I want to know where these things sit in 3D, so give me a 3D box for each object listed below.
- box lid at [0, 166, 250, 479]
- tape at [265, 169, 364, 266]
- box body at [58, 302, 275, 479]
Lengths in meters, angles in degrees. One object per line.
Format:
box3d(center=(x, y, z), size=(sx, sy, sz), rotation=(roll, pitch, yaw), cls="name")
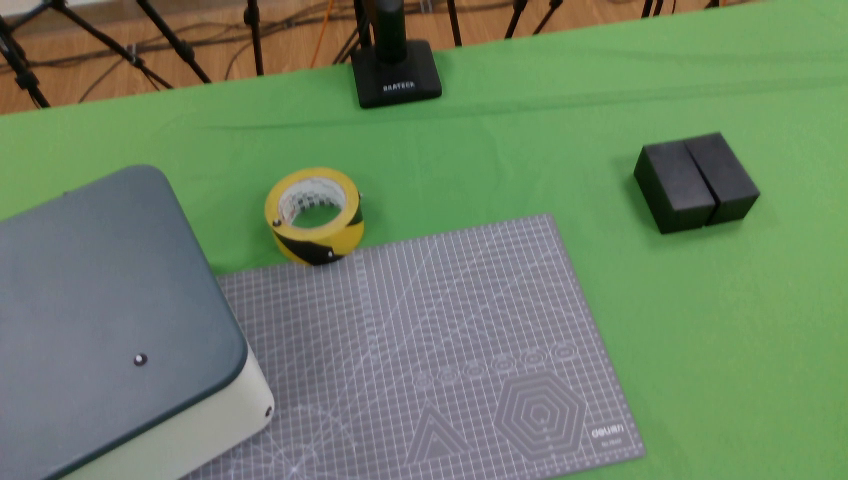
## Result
box3d(center=(-0.354, 0.092, 0.503), size=(0.372, 0.015, 0.260), rotation=(-28, 61, -15), cls="box lid")
box3d(center=(-0.132, -0.028, 0.731), size=(0.117, 0.053, 0.115), rotation=(-1, 54, 1), cls="tape")
box3d(center=(-0.354, 0.133, 0.566), size=(0.364, 0.162, 0.251), rotation=(-28, 60, -15), cls="box body")
